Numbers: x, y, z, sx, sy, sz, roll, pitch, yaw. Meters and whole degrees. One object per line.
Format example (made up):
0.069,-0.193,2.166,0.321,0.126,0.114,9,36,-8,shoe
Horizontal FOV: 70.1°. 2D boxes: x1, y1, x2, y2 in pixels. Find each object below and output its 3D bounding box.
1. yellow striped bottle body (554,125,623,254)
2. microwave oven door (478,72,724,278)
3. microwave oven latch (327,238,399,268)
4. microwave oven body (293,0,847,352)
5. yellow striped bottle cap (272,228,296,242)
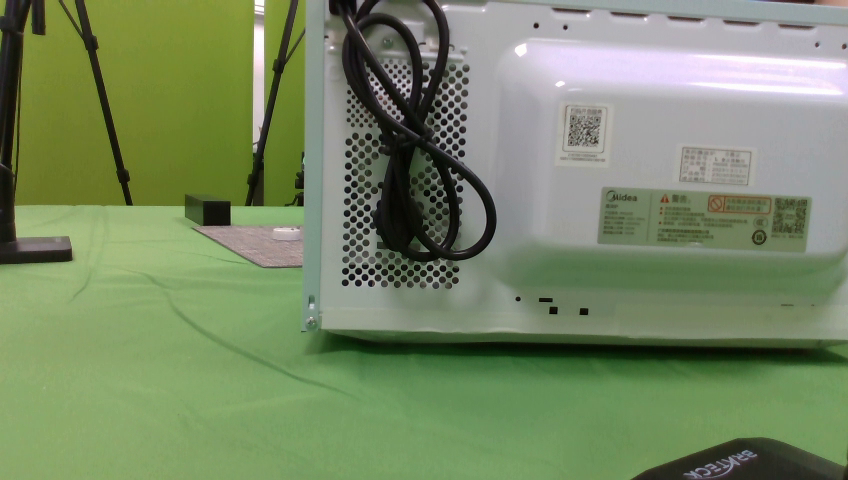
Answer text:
0.158,-0.049,0.583,0.063,0.120,0.063,0,5,0,yellow striped bottle body
0.219,-0.096,0.837,0.039,0.243,0.354,-4,10,-40,microwave oven door
-0.069,0.015,0.694,0.079,0.029,0.030,3,7,-3,microwave oven latch
0.122,-0.055,0.551,0.442,0.260,0.325,3,7,-5,microwave oven body
-0.232,-0.008,1.012,0.044,0.018,0.044,4,8,0,yellow striped bottle cap
